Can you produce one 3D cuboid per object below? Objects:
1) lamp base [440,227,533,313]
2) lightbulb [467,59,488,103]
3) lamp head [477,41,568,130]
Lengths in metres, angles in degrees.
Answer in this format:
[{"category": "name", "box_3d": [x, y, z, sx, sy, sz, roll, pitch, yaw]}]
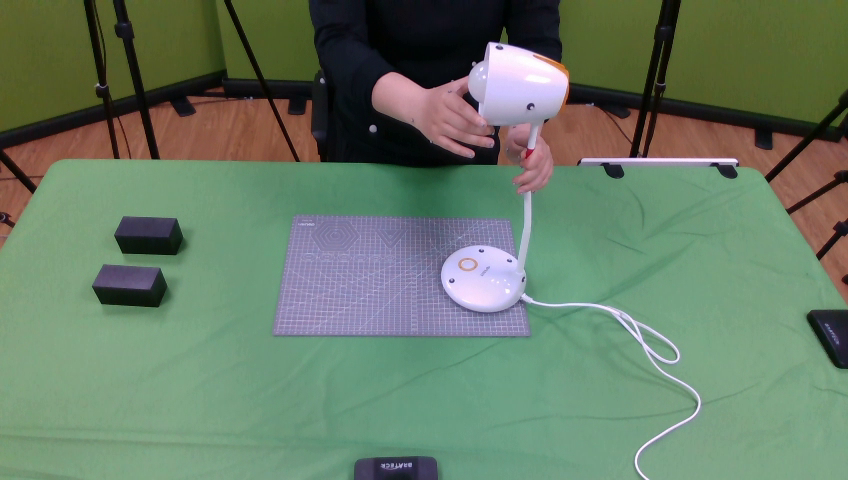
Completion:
[{"category": "lamp base", "box_3d": [0.126, 0.021, 1.072, 0.179, 0.181, 0.160, 22, 49, 13]}, {"category": "lightbulb", "box_3d": [0.114, -0.218, 0.847, 0.108, 0.060, 0.059, 8, 45, -4]}, {"category": "lamp head", "box_3d": [0.136, -0.208, 0.839, 0.123, 0.113, 0.112, 10, 45, -4]}]
